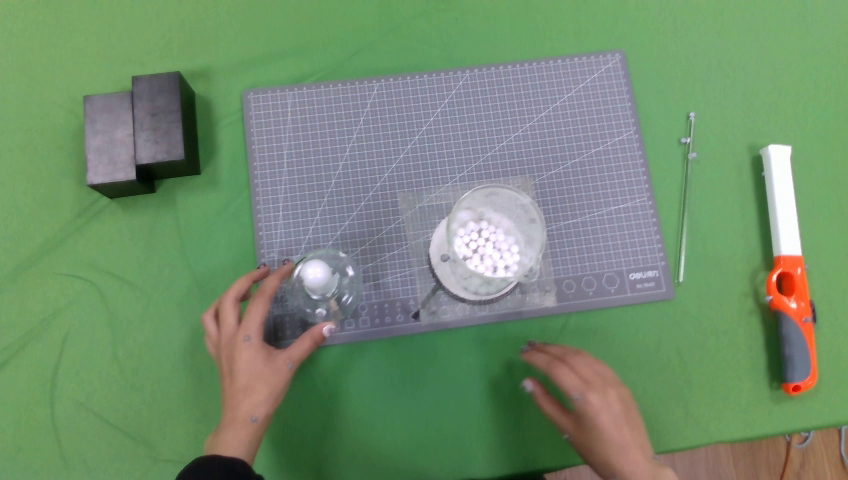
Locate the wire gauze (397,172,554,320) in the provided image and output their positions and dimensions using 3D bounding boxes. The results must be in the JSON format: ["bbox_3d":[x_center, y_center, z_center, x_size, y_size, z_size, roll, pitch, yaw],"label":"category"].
[{"bbox_3d":[0.045,0.004,0.538,0.125,0.011,0.121,-8,78,-2],"label":"wire gauze"}]

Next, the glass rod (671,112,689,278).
[{"bbox_3d":[0.294,-0.054,0.694,0.008,0.008,0.199,9,79,-1],"label":"glass rod"}]

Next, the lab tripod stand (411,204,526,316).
[{"bbox_3d":[0.042,0.020,0.602,0.148,0.132,0.147,0,78,0],"label":"lab tripod stand"}]

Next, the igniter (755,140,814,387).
[{"bbox_3d":[0.400,0.022,0.674,0.057,0.025,0.275,2,79,-13],"label":"igniter"}]

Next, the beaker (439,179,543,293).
[{"bbox_3d":[0.051,0.004,0.489,0.074,0.100,0.083,-39,82,-9],"label":"beaker"}]

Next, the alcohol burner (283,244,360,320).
[{"bbox_3d":[-0.104,0.039,0.602,0.078,0.119,0.077,1,76,-2],"label":"alcohol burner"}]

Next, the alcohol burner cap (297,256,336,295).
[{"bbox_3d":[-0.102,0.032,0.566,0.034,0.048,0.033,0,75,0],"label":"alcohol burner cap"}]
